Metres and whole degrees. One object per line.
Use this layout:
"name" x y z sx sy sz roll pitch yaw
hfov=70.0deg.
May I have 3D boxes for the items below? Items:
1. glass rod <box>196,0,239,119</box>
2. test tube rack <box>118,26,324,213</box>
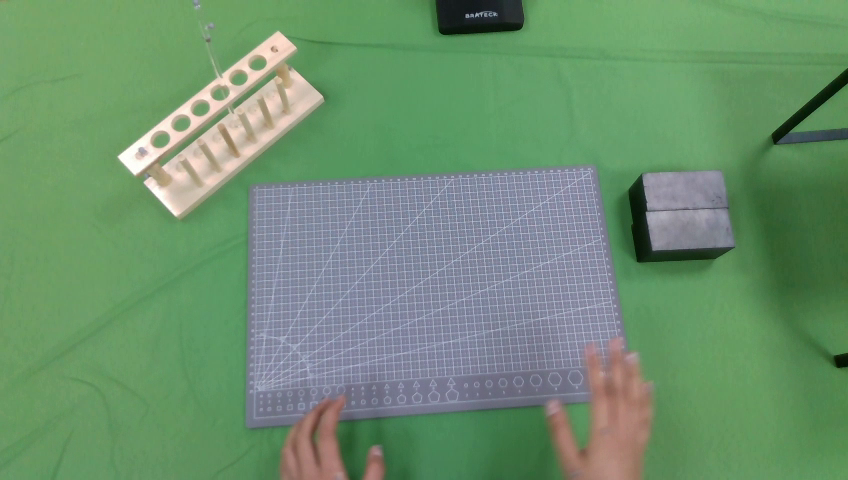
"glass rod" -0.235 -0.201 0.698 0.008 0.201 0.008 2 65 -4
"test tube rack" -0.241 -0.148 0.750 0.242 0.085 0.066 -43 78 -13
